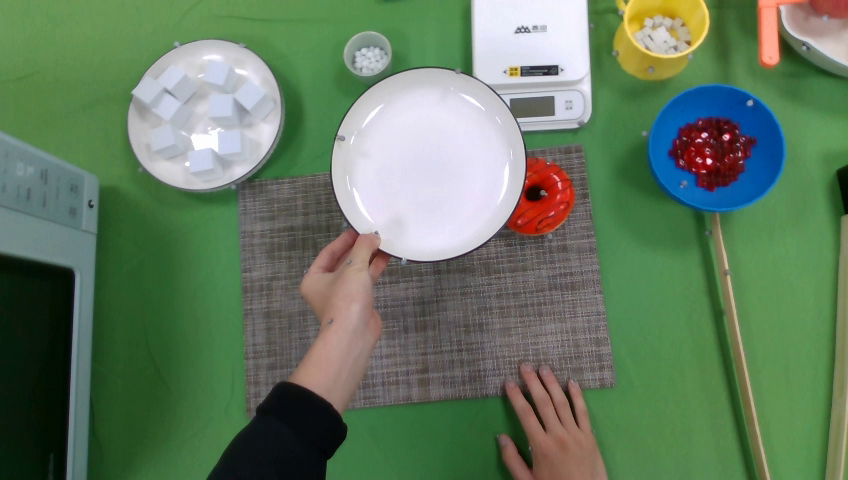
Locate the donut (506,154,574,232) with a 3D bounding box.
[{"bbox_3d":[0.132,-0.057,0.742,0.099,0.048,0.098,-1,82,7],"label":"donut"}]

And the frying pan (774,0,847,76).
[{"bbox_3d":[0.605,-0.243,0.704,0.307,0.103,0.484,-33,72,0],"label":"frying pan"}]

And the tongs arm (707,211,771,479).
[{"bbox_3d":[0.383,0.153,0.696,0.051,0.026,0.383,-5,81,-1],"label":"tongs arm"}]

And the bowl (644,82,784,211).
[{"bbox_3d":[0.330,-0.101,0.719,0.151,0.077,0.151,-1,82,5],"label":"bowl"}]

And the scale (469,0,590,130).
[{"bbox_3d":[0.135,-0.242,0.781,0.148,0.032,0.200,-2,81,5],"label":"scale"}]

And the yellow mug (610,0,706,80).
[{"bbox_3d":[0.279,-0.272,0.756,0.100,0.064,0.130,-38,79,-1],"label":"yellow mug"}]

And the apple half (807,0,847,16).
[{"bbox_3d":[0.501,-0.304,0.733,0.080,0.075,0.053,35,88,7],"label":"apple half"}]

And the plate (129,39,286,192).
[{"bbox_3d":[-0.281,-0.161,0.800,0.207,0.039,0.207,-1,81,5],"label":"plate"}]

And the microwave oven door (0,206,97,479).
[{"bbox_3d":[-0.442,0.145,0.642,0.039,0.245,0.354,-4,80,5],"label":"microwave oven door"}]

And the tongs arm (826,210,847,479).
[{"bbox_3d":[0.470,0.152,0.693,0.028,0.028,0.386,10,82,-2],"label":"tongs arm"}]

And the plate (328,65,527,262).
[{"bbox_3d":[0.004,-0.079,0.646,0.209,0.038,0.208,0,86,4],"label":"plate"}]

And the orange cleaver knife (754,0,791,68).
[{"bbox_3d":[0.415,-0.305,0.712,0.077,0.012,0.210,-1,81,7],"label":"orange cleaver knife"}]

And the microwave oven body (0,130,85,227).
[{"bbox_3d":[-0.588,0.113,0.665,0.326,0.261,0.440,-3,81,4],"label":"microwave oven body"}]

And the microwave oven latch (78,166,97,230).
[{"bbox_3d":[-0.440,-0.053,0.777,0.030,0.029,0.079,-1,81,4],"label":"microwave oven latch"}]

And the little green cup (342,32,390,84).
[{"bbox_3d":[-0.073,-0.236,0.794,0.061,0.039,0.061,-1,80,5],"label":"little green cup"}]
